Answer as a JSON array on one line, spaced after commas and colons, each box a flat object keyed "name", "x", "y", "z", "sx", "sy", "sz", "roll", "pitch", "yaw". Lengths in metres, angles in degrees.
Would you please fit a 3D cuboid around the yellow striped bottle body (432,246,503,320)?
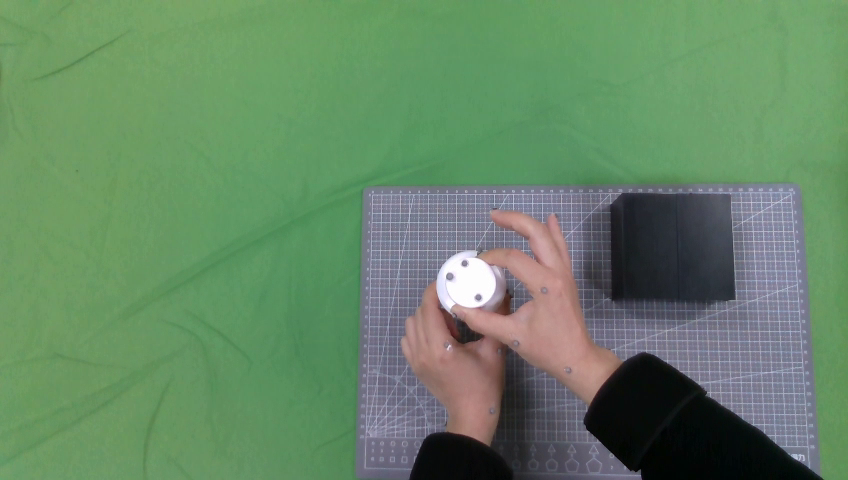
[{"name": "yellow striped bottle body", "x": 0.041, "y": 0.041, "z": 0.566, "sx": 0.063, "sy": 0.121, "sz": 0.062, "roll": -1, "pitch": 80, "yaw": 5}]

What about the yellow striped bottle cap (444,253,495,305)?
[{"name": "yellow striped bottle cap", "x": 0.038, "y": 0.033, "z": 0.515, "sx": 0.044, "sy": 0.019, "sz": 0.044, "roll": -1, "pitch": 82, "yaw": 6}]
